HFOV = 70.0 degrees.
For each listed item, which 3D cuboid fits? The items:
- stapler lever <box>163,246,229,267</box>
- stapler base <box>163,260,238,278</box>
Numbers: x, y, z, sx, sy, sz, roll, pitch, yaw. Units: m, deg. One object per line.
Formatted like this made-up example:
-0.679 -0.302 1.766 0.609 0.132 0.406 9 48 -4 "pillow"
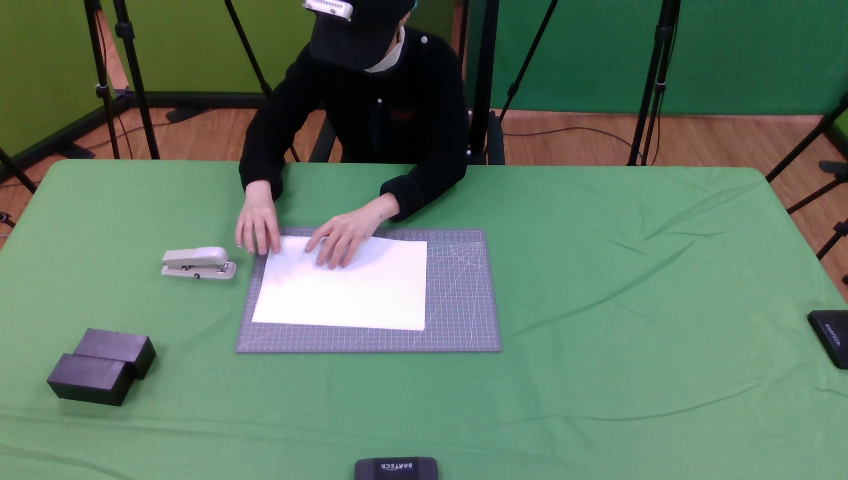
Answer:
-0.415 0.029 1.103 0.118 0.040 0.026 3 43 0 "stapler lever"
-0.415 0.046 1.120 0.130 0.024 0.041 2 43 0 "stapler base"
